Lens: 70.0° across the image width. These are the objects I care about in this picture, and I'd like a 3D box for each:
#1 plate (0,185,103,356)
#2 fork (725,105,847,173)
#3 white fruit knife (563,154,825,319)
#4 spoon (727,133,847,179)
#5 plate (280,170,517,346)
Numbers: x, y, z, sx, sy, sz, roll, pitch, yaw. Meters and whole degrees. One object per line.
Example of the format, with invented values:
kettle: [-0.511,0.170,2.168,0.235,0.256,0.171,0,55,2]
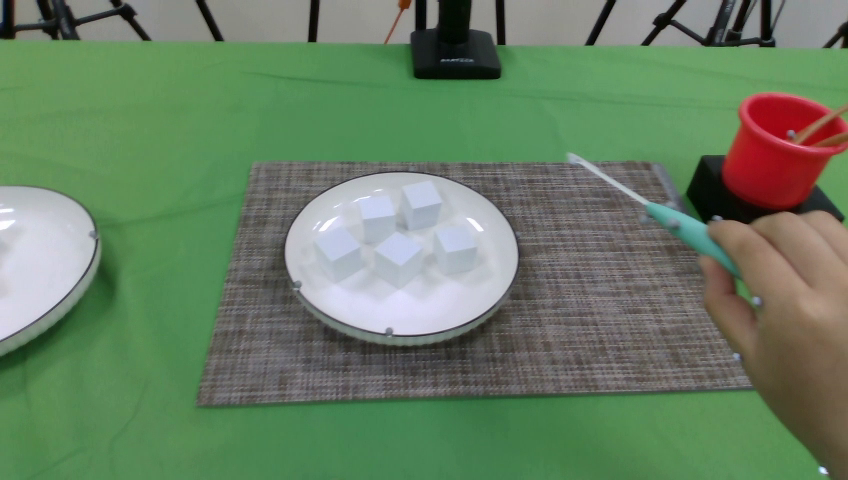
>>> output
plate: [-0.380,0.032,0.509,0.209,0.038,0.207,2,44,-2]
fork: [0.383,-0.111,0.555,0.207,0.019,0.028,-30,16,23]
white fruit knife: [0.147,-0.014,0.375,0.027,0.016,0.205,15,20,-34]
spoon: [0.357,-0.082,0.522,0.041,0.193,0.021,-28,94,-34]
plate: [-0.022,0.015,0.547,0.208,0.039,0.205,2,44,-2]
